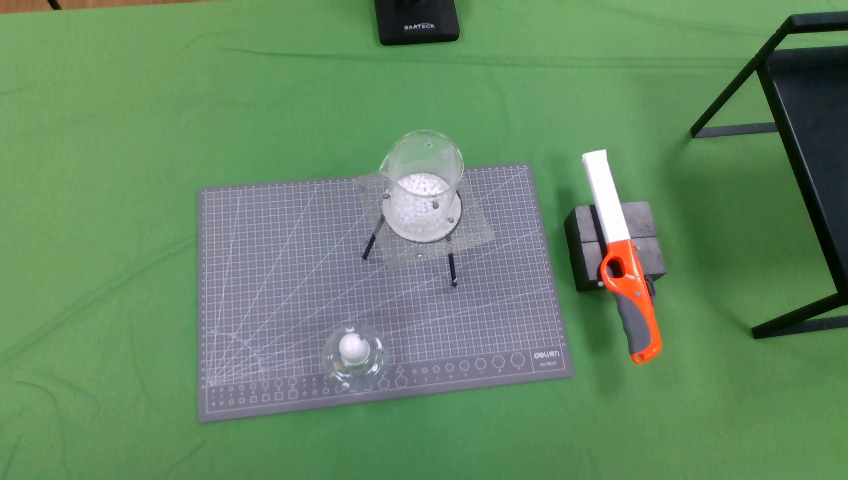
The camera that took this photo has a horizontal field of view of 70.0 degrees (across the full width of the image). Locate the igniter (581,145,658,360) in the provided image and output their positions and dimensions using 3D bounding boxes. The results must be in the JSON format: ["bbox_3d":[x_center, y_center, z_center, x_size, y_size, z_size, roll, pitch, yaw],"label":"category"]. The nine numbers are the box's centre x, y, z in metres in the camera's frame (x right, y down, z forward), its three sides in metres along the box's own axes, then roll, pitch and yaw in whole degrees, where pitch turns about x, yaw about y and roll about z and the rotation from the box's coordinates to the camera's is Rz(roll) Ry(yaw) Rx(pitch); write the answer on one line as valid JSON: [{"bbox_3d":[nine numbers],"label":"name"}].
[{"bbox_3d":[0.240,0.009,0.751,0.057,0.025,0.274,-10,71,3],"label":"igniter"}]

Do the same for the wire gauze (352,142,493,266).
[{"bbox_3d":[-0.002,-0.041,0.667,0.125,0.011,0.120,-17,73,-13],"label":"wire gauze"}]

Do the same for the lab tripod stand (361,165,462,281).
[{"bbox_3d":[-0.007,-0.025,0.731,0.148,0.132,0.147,1,69,-3],"label":"lab tripod stand"}]

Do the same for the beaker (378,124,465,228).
[{"bbox_3d":[-0.005,-0.060,0.622,0.084,0.101,0.073,-7,69,-7],"label":"beaker"}]

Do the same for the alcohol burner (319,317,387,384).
[{"bbox_3d":[-0.081,0.122,0.683,0.078,0.119,0.077,2,71,-4],"label":"alcohol burner"}]

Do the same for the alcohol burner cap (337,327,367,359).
[{"bbox_3d":[-0.079,0.109,0.650,0.034,0.048,0.033,1,72,-2],"label":"alcohol burner cap"}]
